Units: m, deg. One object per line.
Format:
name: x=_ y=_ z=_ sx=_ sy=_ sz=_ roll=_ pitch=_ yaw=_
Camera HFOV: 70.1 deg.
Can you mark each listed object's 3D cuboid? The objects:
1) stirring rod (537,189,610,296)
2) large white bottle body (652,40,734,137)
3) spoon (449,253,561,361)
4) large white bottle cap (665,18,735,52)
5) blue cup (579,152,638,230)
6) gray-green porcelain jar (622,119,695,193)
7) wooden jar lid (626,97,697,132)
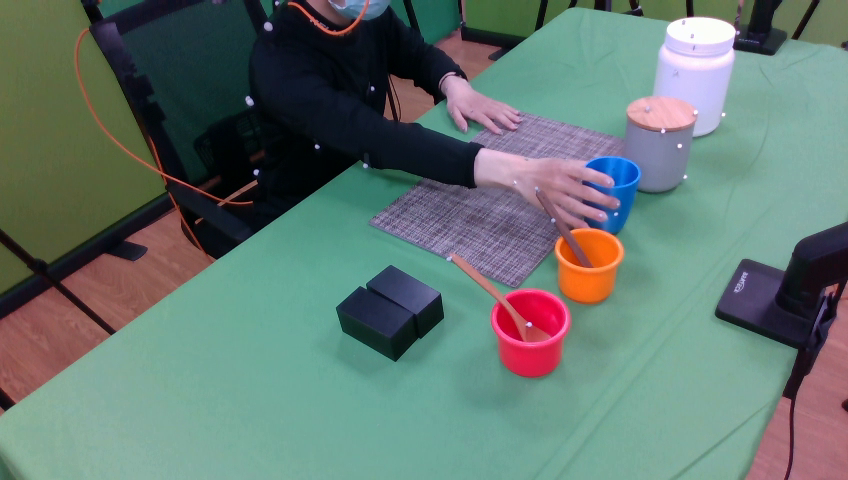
stirring rod: x=0.211 y=0.003 z=0.855 sx=0.014 sy=0.006 sz=0.176 roll=-32 pitch=89 yaw=-30
large white bottle body: x=0.497 y=-0.300 z=1.126 sx=0.130 sy=0.185 sz=0.130 roll=-4 pitch=41 yaw=4
spoon: x=0.103 y=0.083 z=0.769 sx=0.194 sy=0.021 sz=0.042 roll=47 pitch=51 yaw=-7
large white bottle cap: x=0.488 y=-0.364 z=1.071 sx=0.115 sy=0.018 sz=0.114 roll=-4 pitch=41 yaw=4
blue cup: x=0.280 y=-0.071 z=0.936 sx=0.092 sy=0.100 sz=0.092 roll=-3 pitch=39 yaw=3
gray-green porcelain jar: x=0.389 y=-0.152 z=1.016 sx=0.106 sy=0.127 sz=0.105 roll=-4 pitch=40 yaw=4
wooden jar lid: x=0.382 y=-0.198 z=0.976 sx=0.108 sy=0.021 sz=0.108 roll=-2 pitch=40 yaw=3
